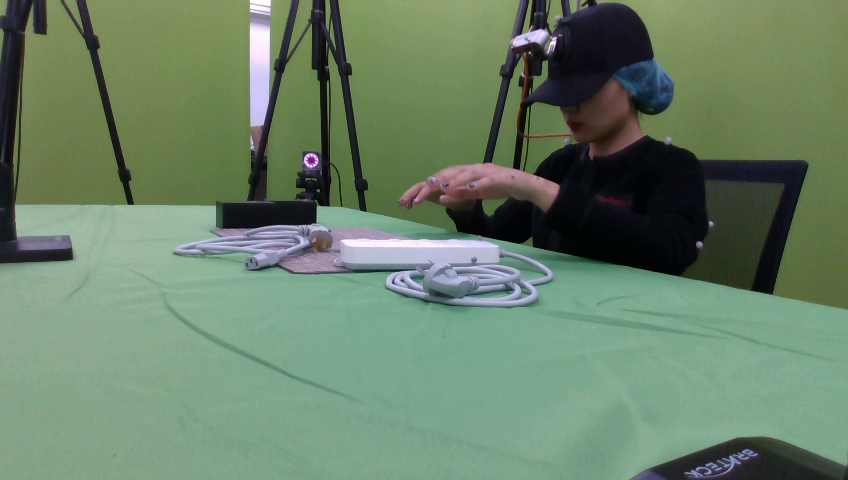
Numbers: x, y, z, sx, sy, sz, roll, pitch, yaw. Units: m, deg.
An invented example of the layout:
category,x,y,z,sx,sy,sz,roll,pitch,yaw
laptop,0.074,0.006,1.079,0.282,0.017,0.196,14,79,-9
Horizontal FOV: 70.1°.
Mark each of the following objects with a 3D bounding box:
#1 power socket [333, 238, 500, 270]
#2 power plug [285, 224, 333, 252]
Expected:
category,x,y,z,sx,sy,sz,roll,pitch,yaw
power socket,-0.005,0.018,0.798,0.227,0.032,0.072,1,8,-17
power plug,-0.171,0.000,0.898,0.072,0.035,0.052,-9,32,6
